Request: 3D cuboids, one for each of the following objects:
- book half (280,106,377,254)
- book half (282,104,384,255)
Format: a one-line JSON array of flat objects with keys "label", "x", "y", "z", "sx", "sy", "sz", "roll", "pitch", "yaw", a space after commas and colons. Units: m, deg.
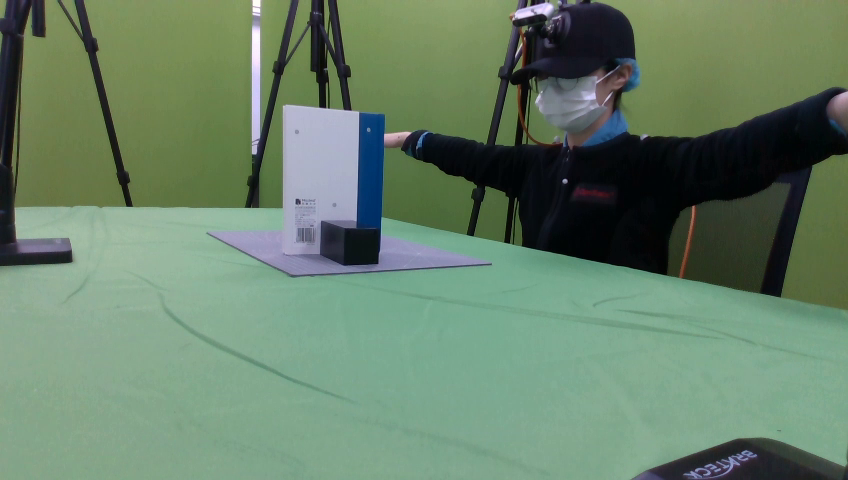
[{"label": "book half", "x": -0.137, "y": -0.085, "z": 0.886, "sx": 0.144, "sy": 0.210, "sz": 0.007, "roll": -1, "pitch": 8, "yaw": -26}, {"label": "book half", "x": -0.132, "y": -0.084, "z": 0.881, "sx": 0.149, "sy": 0.210, "sz": 0.016, "roll": -1, "pitch": 8, "yaw": -27}]
